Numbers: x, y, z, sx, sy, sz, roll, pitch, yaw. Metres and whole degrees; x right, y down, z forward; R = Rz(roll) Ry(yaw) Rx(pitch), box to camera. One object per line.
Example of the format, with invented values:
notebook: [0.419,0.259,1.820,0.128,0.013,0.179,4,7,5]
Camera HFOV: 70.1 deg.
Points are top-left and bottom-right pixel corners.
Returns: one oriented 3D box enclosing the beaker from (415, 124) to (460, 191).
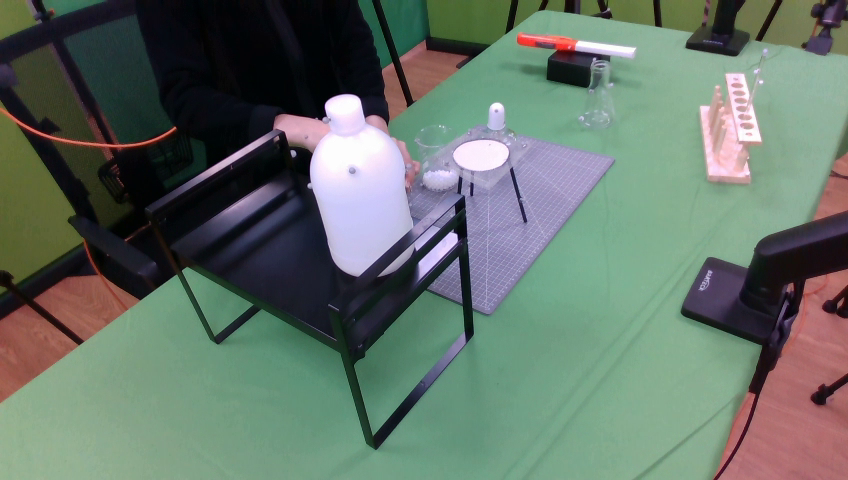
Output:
beaker: [0.027,-0.147,1.081,0.073,0.100,0.084,12,43,21]

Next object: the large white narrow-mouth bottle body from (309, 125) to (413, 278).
large white narrow-mouth bottle body: [-0.068,-0.057,0.644,0.102,0.195,0.101,-3,42,4]

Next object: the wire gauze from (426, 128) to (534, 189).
wire gauze: [0.086,-0.131,0.924,0.124,0.011,0.122,26,52,33]

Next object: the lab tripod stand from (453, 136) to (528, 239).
lab tripod stand: [0.094,-0.086,0.974,0.148,0.132,0.147,-4,42,4]

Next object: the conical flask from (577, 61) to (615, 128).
conical flask: [0.343,-0.288,1.188,0.075,0.122,0.075,-4,41,4]

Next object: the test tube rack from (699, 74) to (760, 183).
test tube rack: [0.547,-0.208,1.095,0.066,0.085,0.242,6,42,16]

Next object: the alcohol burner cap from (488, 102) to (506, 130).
alcohol burner cap: [0.133,-0.227,1.092,0.034,0.048,0.033,-1,47,2]

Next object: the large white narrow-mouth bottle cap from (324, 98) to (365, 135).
large white narrow-mouth bottle cap: [-0.076,-0.120,0.585,0.038,0.024,0.037,-3,42,3]

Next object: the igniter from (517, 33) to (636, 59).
igniter: [0.336,-0.441,1.369,0.275,0.025,0.057,16,41,23]

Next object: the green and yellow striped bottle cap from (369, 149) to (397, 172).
green and yellow striped bottle cap: [-0.066,-0.128,0.967,0.045,0.020,0.045,-5,38,4]

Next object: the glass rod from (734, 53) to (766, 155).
glass rod: [0.540,-0.220,1.007,0.008,0.201,0.008,-5,46,6]

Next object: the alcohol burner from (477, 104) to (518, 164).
alcohol burner: [0.135,-0.200,1.117,0.078,0.119,0.077,-4,43,4]

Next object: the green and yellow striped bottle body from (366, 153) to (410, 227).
green and yellow striped bottle body: [-0.060,-0.085,1.004,0.063,0.120,0.063,-4,41,4]
